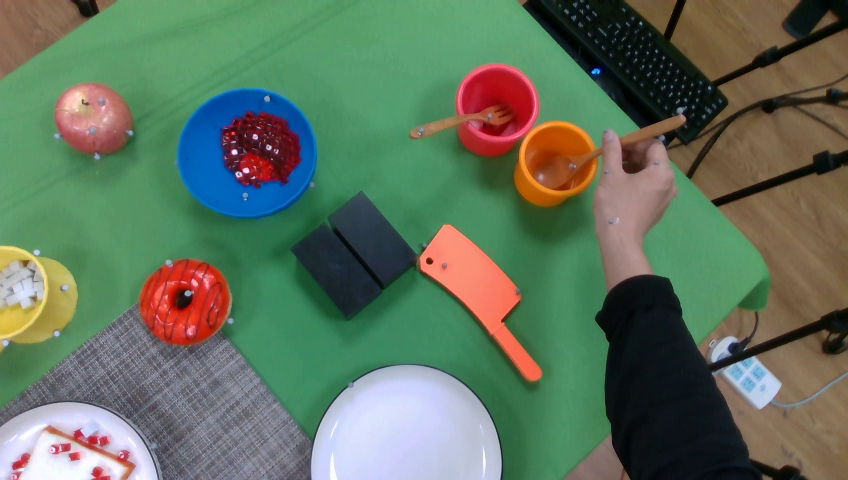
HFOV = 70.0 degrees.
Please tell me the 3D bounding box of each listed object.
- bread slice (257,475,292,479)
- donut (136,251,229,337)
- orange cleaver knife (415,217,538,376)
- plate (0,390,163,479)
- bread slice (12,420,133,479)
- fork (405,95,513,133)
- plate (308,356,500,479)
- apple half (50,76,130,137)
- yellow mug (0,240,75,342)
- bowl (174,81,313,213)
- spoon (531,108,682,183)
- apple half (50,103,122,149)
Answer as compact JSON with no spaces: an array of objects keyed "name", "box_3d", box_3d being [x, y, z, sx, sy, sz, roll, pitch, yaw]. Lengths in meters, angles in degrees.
[{"name":"bread slice","box_3d":[-0.164,0.311,0.616,0.106,0.018,0.134,39,59,8]},{"name":"donut","box_3d":[-0.270,0.060,0.678,0.099,0.048,0.098,1,79,-4]},{"name":"orange cleaver knife","box_3d":[0.073,0.064,0.718,0.077,0.012,0.210,-39,82,-17]},{"name":"plate","box_3d":[-0.377,0.263,0.634,0.208,0.039,0.206,1,79,-4]},{"name":"bread slice","box_3d":[-0.383,0.270,0.633,0.105,0.019,0.131,22,78,1]},{"name":"fork","box_3d":[0.045,-0.144,0.692,0.207,0.018,0.028,-25,79,-51]},{"name":"plate","box_3d":[-0.022,0.233,0.668,0.209,0.038,0.208,1,79,-3]},{"name":"apple half","box_3d":[-0.379,-0.158,0.703,0.081,0.075,0.053,15,72,3]},{"name":"yellow mug","box_3d":[-0.455,0.068,0.657,0.100,0.064,0.130,25,79,1]},{"name":"bowl","box_3d":[-0.200,-0.096,0.701,0.151,0.077,0.150,1,79,-4]},{"name":"spoon","box_3d":[0.196,-0.106,0.679,0.022,0.193,0.041,14,69,-33]},{"name":"apple half","box_3d":[-0.389,-0.122,0.694,0.081,0.081,0.032,16,73,0]}]
